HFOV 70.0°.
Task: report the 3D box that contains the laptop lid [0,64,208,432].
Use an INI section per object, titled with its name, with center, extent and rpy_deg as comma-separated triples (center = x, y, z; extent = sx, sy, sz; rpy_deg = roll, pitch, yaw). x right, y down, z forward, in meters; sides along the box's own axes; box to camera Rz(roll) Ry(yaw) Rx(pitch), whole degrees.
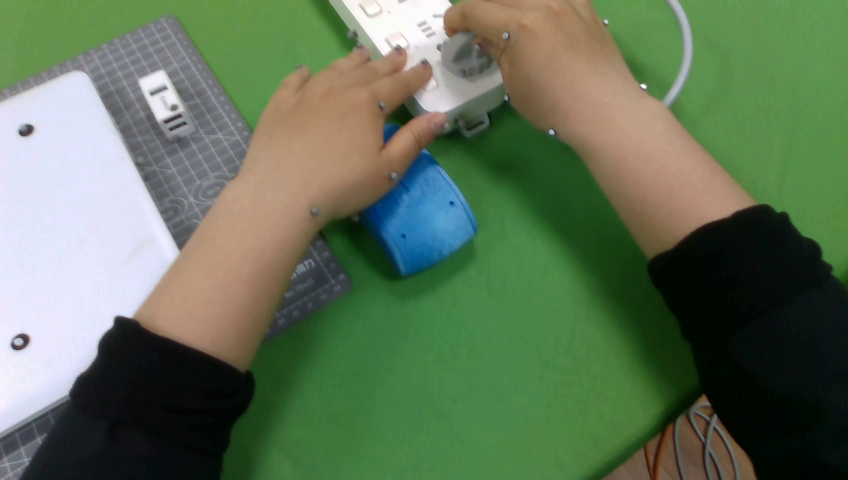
[laptop lid]
center = -0.338, 0.041, 0.370
extent = 0.357, 0.013, 0.239
rpy_deg = -29, 69, -12

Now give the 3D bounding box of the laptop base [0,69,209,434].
[laptop base]
center = -0.339, 0.045, 0.381
extent = 0.354, 0.023, 0.234
rpy_deg = -31, 71, -13

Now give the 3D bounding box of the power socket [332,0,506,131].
[power socket]
center = -0.018, -0.176, 0.472
extent = 0.072, 0.033, 0.225
rpy_deg = -29, 67, -11

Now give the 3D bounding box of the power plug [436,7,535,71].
[power plug]
center = 0.044, -0.136, 0.433
extent = 0.073, 0.053, 0.035
rpy_deg = -6, 59, -15

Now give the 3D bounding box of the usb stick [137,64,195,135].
[usb stick]
center = -0.191, -0.108, 0.444
extent = 0.021, 0.027, 0.058
rpy_deg = -29, 64, -10

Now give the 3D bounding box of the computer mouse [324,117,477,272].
[computer mouse]
center = -0.018, -0.036, 0.403
extent = 0.063, 0.041, 0.116
rpy_deg = -30, 64, -11
